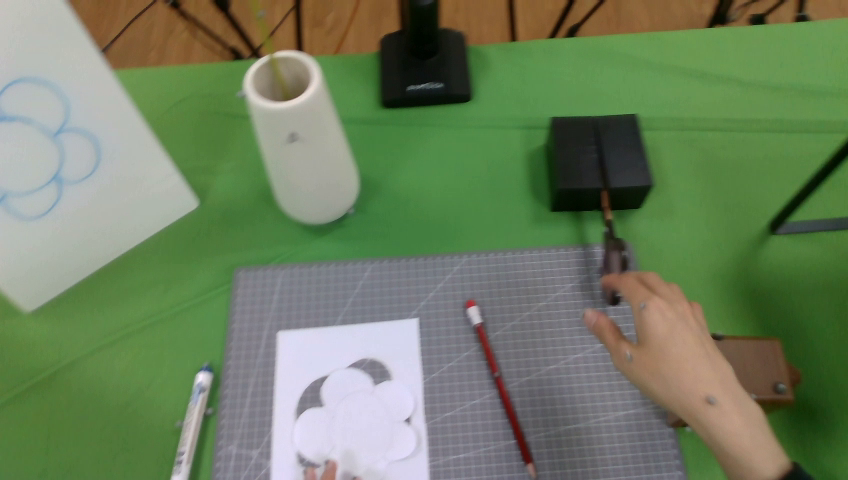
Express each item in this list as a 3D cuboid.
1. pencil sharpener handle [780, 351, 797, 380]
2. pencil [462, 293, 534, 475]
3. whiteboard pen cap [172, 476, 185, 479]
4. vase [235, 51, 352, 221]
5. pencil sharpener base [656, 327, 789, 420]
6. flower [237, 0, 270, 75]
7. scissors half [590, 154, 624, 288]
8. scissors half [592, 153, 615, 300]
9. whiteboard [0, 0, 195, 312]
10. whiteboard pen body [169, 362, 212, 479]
[{"bbox_3d":[0.325,0.121,0.552,0.031,0.068,0.035,0,56,-2],"label":"pencil sharpener handle"},{"bbox_3d":[0.074,0.141,0.613,0.012,0.012,0.192,-17,65,-7],"label":"pencil"},{"bbox_3d":[-0.232,0.238,0.565,0.018,0.018,0.033,1,58,3],"label":"whiteboard pen cap"},{"bbox_3d":[-0.136,-0.103,0.641,0.098,0.201,0.097,-1,61,3],"label":"vase"},{"bbox_3d":[0.273,0.126,0.562,0.077,0.108,0.061,0,62,-2],"label":"pencil sharpener base"},{"bbox_3d":[-0.146,-0.154,0.574,0.044,0.365,0.038,-11,45,0],"label":"flower"},{"bbox_3d":[0.193,-0.028,0.649,0.013,0.040,0.173,2,53,-3],"label":"scissors half"},{"bbox_3d":[0.193,-0.018,0.667,0.013,0.040,0.174,0,71,2],"label":"scissors half"},{"bbox_3d":[-0.431,-0.117,0.630,0.217,0.309,0.142,-36,48,-15],"label":"whiteboard"},{"bbox_3d":[-0.231,0.187,0.594,0.017,0.017,0.139,2,61,3],"label":"whiteboard pen body"}]
